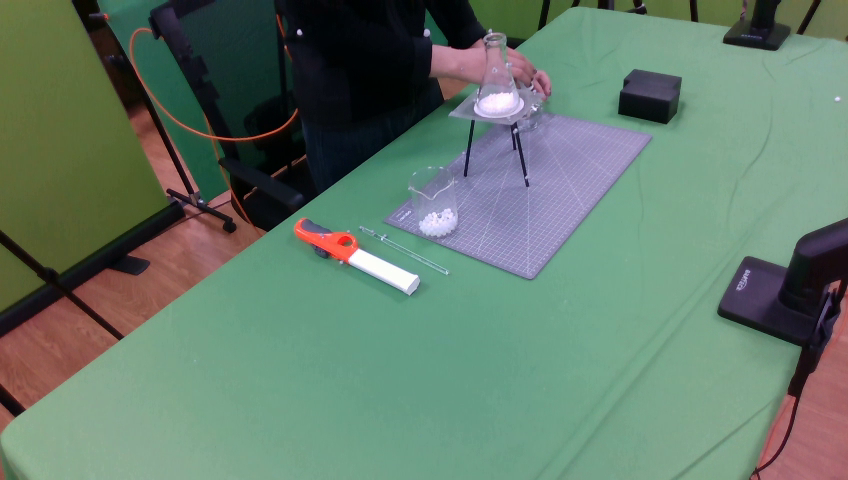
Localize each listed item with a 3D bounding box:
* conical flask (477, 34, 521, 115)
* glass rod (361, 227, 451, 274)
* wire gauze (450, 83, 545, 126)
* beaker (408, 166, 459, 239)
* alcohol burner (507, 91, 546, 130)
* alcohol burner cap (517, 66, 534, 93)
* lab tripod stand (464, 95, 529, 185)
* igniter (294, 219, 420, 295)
[{"bbox_3d":[0.121,-0.275,0.999,0.075,0.122,0.075,-5,40,5],"label":"conical flask"},{"bbox_3d":[-0.033,0.014,0.985,0.198,0.008,0.008,25,52,34],"label":"glass rod"},{"bbox_3d":[0.126,-0.232,1.041,0.120,0.011,0.125,17,48,31],"label":"wire gauze"},{"bbox_3d":[0.018,-0.057,0.984,0.074,0.101,0.083,-6,41,5],"label":"beaker"},{"bbox_3d":[0.203,-0.279,1.200,0.078,0.119,0.077,-5,42,5],"label":"alcohol burner"},{"bbox_3d":[0.196,-0.312,1.169,0.034,0.048,0.033,-6,42,6],"label":"alcohol burner cap"},{"bbox_3d":[0.138,-0.182,1.082,0.148,0.132,0.147,-6,38,5],"label":"lab tripod stand"},{"bbox_3d":[-0.118,0.022,0.977,0.274,0.025,0.057,24,60,34],"label":"igniter"}]
